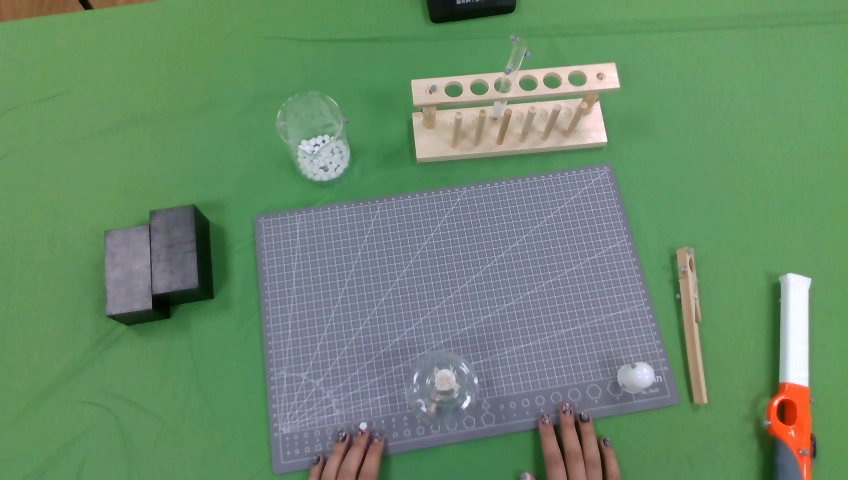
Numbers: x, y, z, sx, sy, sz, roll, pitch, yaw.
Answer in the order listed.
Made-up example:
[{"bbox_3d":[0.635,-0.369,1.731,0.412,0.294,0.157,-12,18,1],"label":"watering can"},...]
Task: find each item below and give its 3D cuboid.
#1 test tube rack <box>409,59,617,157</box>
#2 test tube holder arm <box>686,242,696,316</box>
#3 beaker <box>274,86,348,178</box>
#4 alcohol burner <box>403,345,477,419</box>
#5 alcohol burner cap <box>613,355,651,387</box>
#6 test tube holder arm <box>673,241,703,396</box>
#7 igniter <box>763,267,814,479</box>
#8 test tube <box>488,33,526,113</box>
[{"bbox_3d":[0.105,-0.160,0.742,0.242,0.085,0.066,-5,72,-2],"label":"test tube rack"},{"bbox_3d":[0.310,0.046,0.714,0.010,0.015,0.087,15,69,-32],"label":"test tube holder arm"},{"bbox_3d":[-0.129,-0.121,0.719,0.074,0.101,0.083,-6,72,-2],"label":"beaker"},{"bbox_3d":[0.018,0.144,0.624,0.078,0.120,0.077,1,70,-2],"label":"alcohol burner"},{"bbox_3d":[0.230,0.143,0.665,0.034,0.048,0.033,0,71,0],"label":"alcohol burner cap"},{"bbox_3d":[0.303,0.088,0.697,0.013,0.015,0.177,13,70,-32],"label":"test tube holder arm"},{"bbox_3d":[0.404,0.164,0.670,0.057,0.025,0.275,14,72,-6],"label":"igniter"},{"bbox_3d":[0.093,-0.187,0.698,0.017,0.151,0.017,1,73,-4],"label":"test tube"}]
